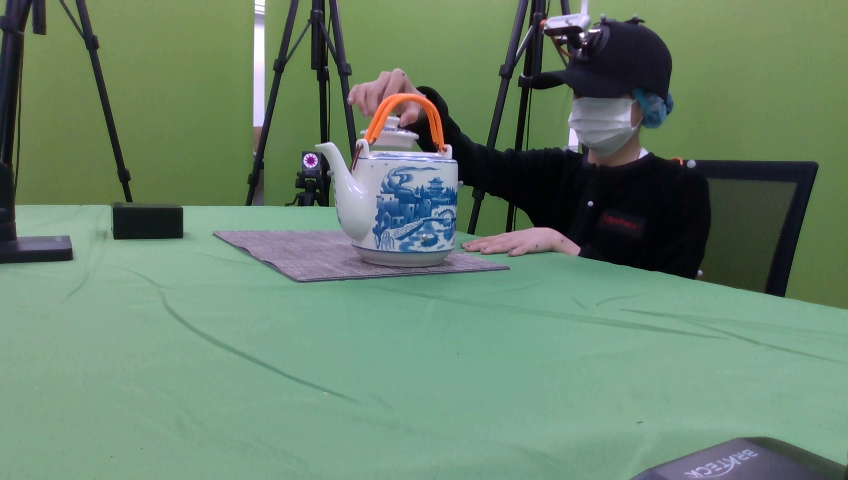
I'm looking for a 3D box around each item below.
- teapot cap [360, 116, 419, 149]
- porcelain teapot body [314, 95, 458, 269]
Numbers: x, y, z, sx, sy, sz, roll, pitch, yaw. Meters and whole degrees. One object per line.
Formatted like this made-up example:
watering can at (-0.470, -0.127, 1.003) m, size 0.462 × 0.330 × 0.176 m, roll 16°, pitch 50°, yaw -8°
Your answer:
teapot cap at (-0.048, -0.151, 0.848) m, size 0.085 × 0.044 × 0.085 m, roll 7°, pitch 8°, yaw -1°
porcelain teapot body at (-0.049, -0.079, 0.800) m, size 0.206 × 0.225 × 0.144 m, roll -3°, pitch 9°, yaw -37°
